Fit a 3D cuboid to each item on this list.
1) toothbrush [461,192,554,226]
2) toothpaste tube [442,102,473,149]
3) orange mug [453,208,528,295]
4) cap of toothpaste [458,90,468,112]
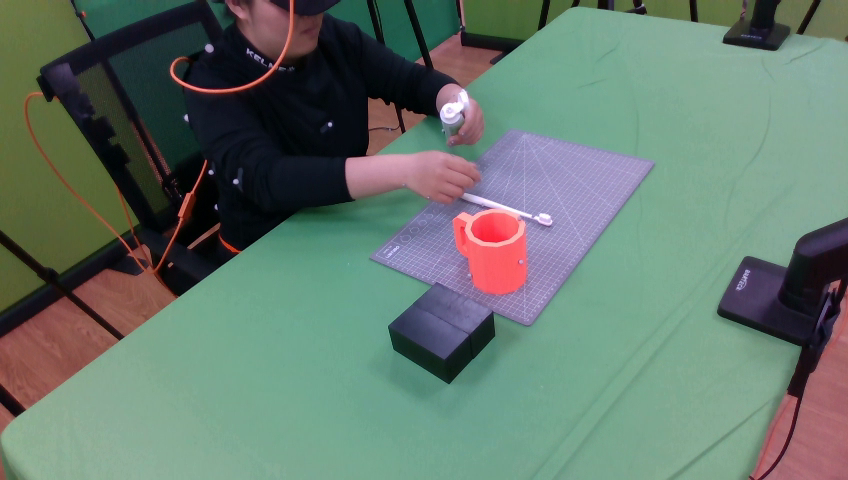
[{"bbox_3d":[0.138,-0.056,1.026,0.180,0.017,0.014,20,60,32],"label":"toothbrush"},{"bbox_3d":[0.058,-0.206,1.073,0.055,0.165,0.034,-33,76,2],"label":"toothpaste tube"},{"bbox_3d":[0.095,0.009,0.894,0.125,0.101,0.084,32,55,33],"label":"orange mug"},{"bbox_3d":[0.063,-0.225,0.984,0.011,0.037,0.037,-8,40,-6],"label":"cap of toothpaste"}]
